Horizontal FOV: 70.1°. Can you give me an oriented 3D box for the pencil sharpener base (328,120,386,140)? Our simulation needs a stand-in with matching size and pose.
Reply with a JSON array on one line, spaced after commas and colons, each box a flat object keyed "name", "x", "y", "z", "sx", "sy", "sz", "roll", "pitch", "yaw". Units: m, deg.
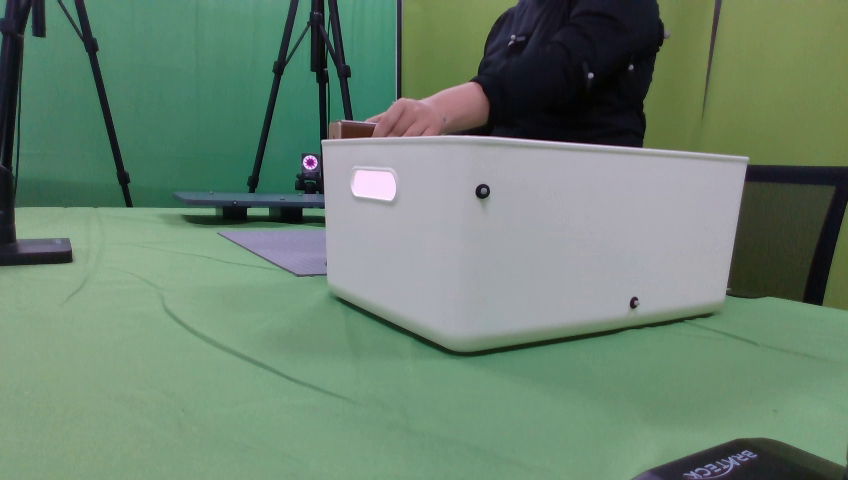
[{"name": "pencil sharpener base", "x": -0.098, "y": -0.120, "z": 0.889, "sx": 0.077, "sy": 0.107, "sz": 0.061, "roll": -1, "pitch": 8, "yaw": -24}]

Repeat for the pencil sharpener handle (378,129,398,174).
[{"name": "pencil sharpener handle", "x": -0.052, "y": -0.133, "z": 0.911, "sx": 0.031, "sy": 0.067, "sz": 0.036, "roll": -1, "pitch": 20, "yaw": -24}]

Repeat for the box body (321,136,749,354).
[{"name": "box body", "x": 0.105, "y": -0.012, "z": 0.603, "sx": 0.366, "sy": 0.160, "sz": 0.253, "roll": -2, "pitch": 8, "yaw": -33}]

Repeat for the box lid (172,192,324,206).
[{"name": "box lid", "x": -0.355, "y": -0.091, "z": 1.350, "sx": 0.373, "sy": 0.015, "sz": 0.262, "roll": -1, "pitch": 8, "yaw": -29}]
